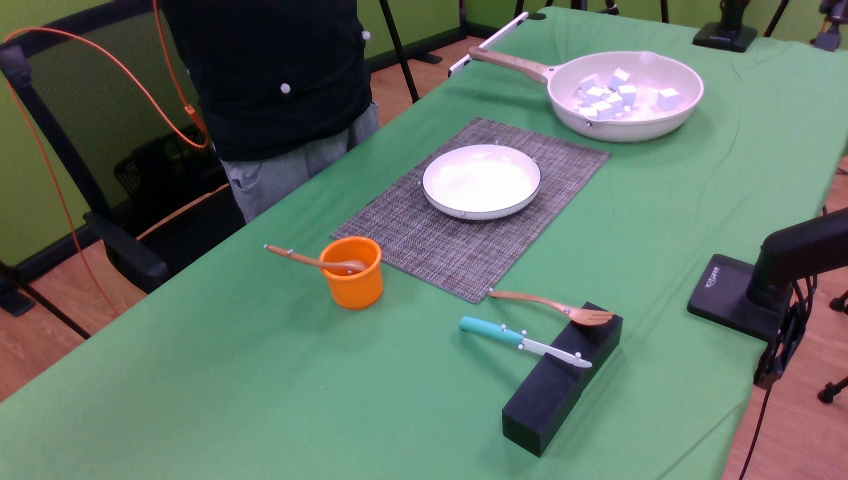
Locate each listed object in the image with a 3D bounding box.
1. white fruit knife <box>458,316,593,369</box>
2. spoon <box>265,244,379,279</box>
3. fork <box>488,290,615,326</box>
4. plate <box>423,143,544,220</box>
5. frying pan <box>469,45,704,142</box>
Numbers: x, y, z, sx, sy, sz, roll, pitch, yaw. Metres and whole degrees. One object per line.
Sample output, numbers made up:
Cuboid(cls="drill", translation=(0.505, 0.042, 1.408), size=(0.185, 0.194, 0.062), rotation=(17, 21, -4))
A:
Cuboid(cls="white fruit knife", translation=(0.120, 0.127, 0.757), size=(0.205, 0.027, 0.016), rotation=(12, 45, 43))
Cuboid(cls="spoon", translation=(-0.137, 0.031, 0.846), size=(0.195, 0.021, 0.041), rotation=(13, 16, -45))
Cuboid(cls="fork", translation=(0.160, 0.086, 0.801), size=(0.205, 0.019, 0.028), rotation=(12, 46, 48))
Cuboid(cls="plate", translation=(0.102, -0.097, 1.049), size=(0.207, 0.039, 0.206), rotation=(-4, 40, 4))
Cuboid(cls="frying pan", translation=(0.307, -0.326, 1.239), size=(0.485, 0.103, 0.307), rotation=(26, 49, 22))
